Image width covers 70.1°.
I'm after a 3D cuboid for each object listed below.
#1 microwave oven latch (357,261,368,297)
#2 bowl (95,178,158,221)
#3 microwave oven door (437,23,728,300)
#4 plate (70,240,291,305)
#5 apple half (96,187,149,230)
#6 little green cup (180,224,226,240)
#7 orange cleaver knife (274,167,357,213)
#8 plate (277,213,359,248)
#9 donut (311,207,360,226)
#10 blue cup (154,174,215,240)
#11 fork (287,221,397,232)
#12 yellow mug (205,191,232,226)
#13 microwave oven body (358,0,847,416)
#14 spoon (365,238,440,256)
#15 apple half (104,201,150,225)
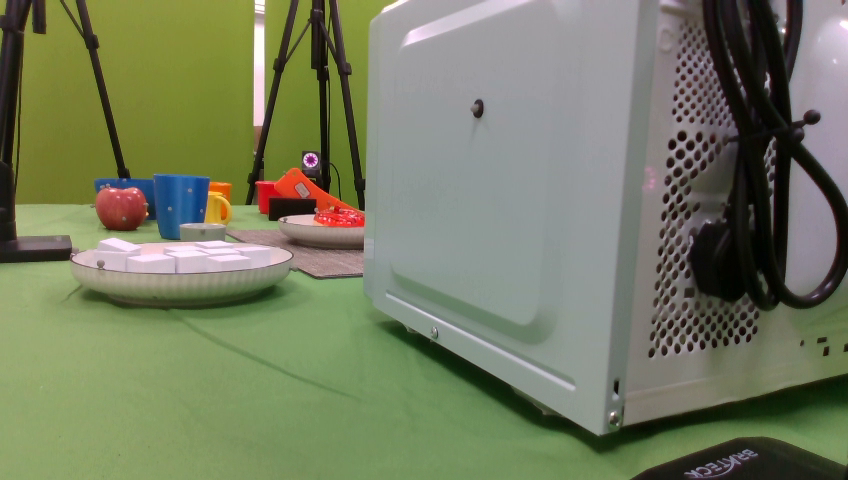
[{"bbox_3d":[-0.019,0.033,0.530,0.079,0.029,0.030,-1,7,-27],"label":"microwave oven latch"},{"bbox_3d":[-0.576,-0.081,1.217,0.151,0.077,0.151,3,8,0],"label":"bowl"},{"bbox_3d":[0.181,-0.072,0.621,0.358,0.243,0.039,-2,8,-29],"label":"microwave oven door"},{"bbox_3d":[-0.242,0.031,0.618,0.208,0.039,0.207,2,8,0],"label":"plate"},{"bbox_3d":[-0.516,-0.052,1.036,0.081,0.074,0.053,3,11,-26],"label":"apple half"},{"bbox_3d":[-0.309,-0.001,0.846,0.061,0.038,0.061,2,8,0],"label":"little green cup"},{"bbox_3d":[-0.238,-0.091,1.381,0.212,0.077,0.012,31,0,-19],"label":"orange cleaver knife"},{"bbox_3d":[-0.135,-0.017,0.992,0.209,0.038,0.209,2,8,0],"label":"plate"},{"bbox_3d":[-0.137,-0.029,0.995,0.099,0.048,0.099,4,9,0],"label":"donut"},{"bbox_3d":[-0.391,-0.053,0.978,0.093,0.100,0.092,4,6,0],"label":"blue cup"},{"bbox_3d":[-0.148,-0.025,1.120,0.208,0.018,0.028,-3,5,-22],"label":"fork"},{"bbox_3d":[-0.415,-0.057,1.131,0.130,0.064,0.100,6,8,16],"label":"yellow mug"},{"bbox_3d":[0.211,-0.047,0.474,0.444,0.260,0.324,-1,7,-28],"label":"microwave oven body"},{"bbox_3d":[-0.023,0.006,0.907,0.041,0.021,0.194,-15,-2,30],"label":"spoon"},{"bbox_3d":[-0.548,-0.044,1.115,0.081,0.033,0.081,18,6,-2],"label":"apple half"}]
